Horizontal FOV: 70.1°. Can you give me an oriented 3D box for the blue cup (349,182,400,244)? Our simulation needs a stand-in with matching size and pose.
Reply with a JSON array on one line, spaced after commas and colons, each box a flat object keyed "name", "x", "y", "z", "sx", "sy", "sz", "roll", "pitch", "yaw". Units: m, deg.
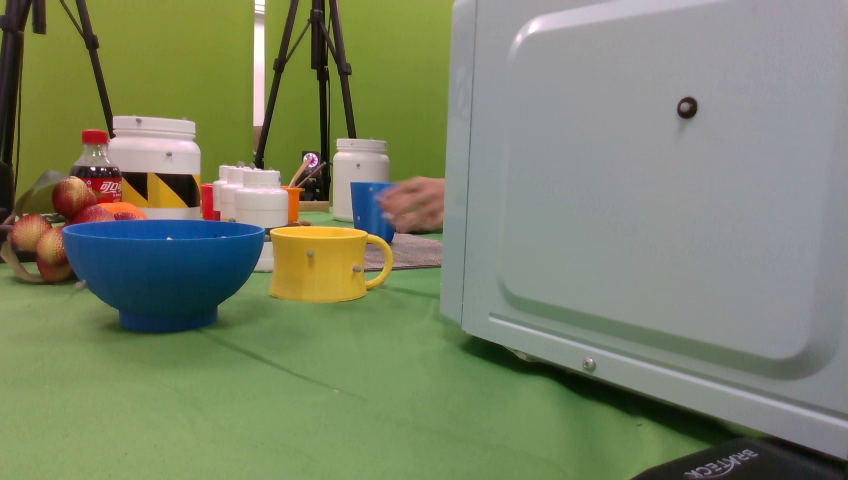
[{"name": "blue cup", "x": -0.082, "y": -0.047, "z": 1.010, "sx": 0.093, "sy": 0.100, "sz": 0.092, "roll": 1, "pitch": 6, "yaw": 0}]

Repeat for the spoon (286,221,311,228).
[{"name": "spoon", "x": -0.232, "y": -0.027, "z": 1.116, "sx": 0.041, "sy": 0.021, "sz": 0.193, "roll": -22, "pitch": 6, "yaw": 4}]

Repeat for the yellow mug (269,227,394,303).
[{"name": "yellow mug", "x": -0.094, "y": 0.023, "z": 0.629, "sx": 0.131, "sy": 0.064, "sz": 0.099, "roll": 0, "pitch": 7, "yaw": -22}]

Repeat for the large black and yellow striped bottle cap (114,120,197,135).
[{"name": "large black and yellow striped bottle cap", "x": -0.407, "y": -0.171, "z": 0.920, "sx": 0.115, "sy": 0.019, "sz": 0.115, "roll": 2, "pitch": 9, "yaw": 0}]

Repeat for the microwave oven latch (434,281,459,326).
[{"name": "microwave oven latch", "x": 0.044, "y": 0.045, "z": 0.470, "sx": 0.079, "sy": 0.029, "sz": 0.030, "roll": -3, "pitch": 8, "yaw": -39}]

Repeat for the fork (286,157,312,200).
[{"name": "fork", "x": -0.289, "y": -0.116, "z": 1.321, "sx": 0.028, "sy": 0.019, "sz": 0.207, "roll": 6, "pitch": 51, "yaw": 19}]

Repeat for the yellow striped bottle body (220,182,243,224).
[{"name": "yellow striped bottle body", "x": -0.246, "y": -0.036, "z": 0.825, "sx": 0.063, "sy": 0.120, "sz": 0.063, "roll": 3, "pitch": 8, "yaw": 0}]

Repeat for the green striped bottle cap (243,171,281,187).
[{"name": "green striped bottle cap", "x": -0.198, "y": -0.074, "z": 0.736, "sx": 0.044, "sy": 0.020, "sz": 0.044, "roll": 1, "pitch": 7, "yaw": 0}]

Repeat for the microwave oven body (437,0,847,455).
[{"name": "microwave oven body", "x": 0.279, "y": -0.040, "z": 0.465, "sx": 0.444, "sy": 0.260, "sz": 0.324, "roll": -3, "pitch": 9, "yaw": -41}]

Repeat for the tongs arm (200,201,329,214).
[{"name": "tongs arm", "x": -0.378, "y": -0.079, "z": 1.440, "sx": 0.387, "sy": 0.026, "sz": 0.050, "roll": -4, "pitch": 7, "yaw": -44}]

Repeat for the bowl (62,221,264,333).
[{"name": "bowl", "x": -0.209, "y": 0.029, "z": 0.496, "sx": 0.151, "sy": 0.077, "sz": 0.151, "roll": 2, "pitch": 7, "yaw": 0}]

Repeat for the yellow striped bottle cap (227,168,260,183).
[{"name": "yellow striped bottle cap", "x": -0.243, "y": -0.087, "z": 0.818, "sx": 0.044, "sy": 0.018, "sz": 0.044, "roll": 3, "pitch": 6, "yaw": 0}]

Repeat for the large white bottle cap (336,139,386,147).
[{"name": "large white bottle cap", "x": -0.143, "y": -0.219, "z": 1.375, "sx": 0.115, "sy": 0.018, "sz": 0.115, "roll": 2, "pitch": 8, "yaw": 0}]

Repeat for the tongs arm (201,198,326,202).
[{"name": "tongs arm", "x": -0.433, "y": -0.089, "z": 1.508, "sx": 0.390, "sy": 0.028, "sz": 0.028, "roll": -1, "pitch": 2, "yaw": -29}]

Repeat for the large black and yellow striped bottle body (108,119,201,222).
[{"name": "large black and yellow striped bottle body", "x": -0.412, "y": -0.088, "z": 0.930, "sx": 0.131, "sy": 0.184, "sz": 0.130, "roll": 3, "pitch": 7, "yaw": 0}]

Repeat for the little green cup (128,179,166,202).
[{"name": "little green cup", "x": -0.485, "y": -0.087, "z": 1.062, "sx": 0.061, "sy": 0.038, "sz": 0.061, "roll": -1, "pitch": 6, "yaw": 0}]

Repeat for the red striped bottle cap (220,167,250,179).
[{"name": "red striped bottle cap", "x": -0.281, "y": -0.100, "z": 0.901, "sx": 0.044, "sy": 0.017, "sz": 0.044, "roll": -1, "pitch": 5, "yaw": 0}]

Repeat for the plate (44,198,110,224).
[{"name": "plate", "x": -0.617, "y": -0.056, "z": 1.179, "sx": 0.209, "sy": 0.038, "sz": 0.209, "roll": 3, "pitch": 7, "yaw": 0}]

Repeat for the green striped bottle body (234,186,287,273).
[{"name": "green striped bottle body", "x": -0.200, "y": -0.023, "z": 0.743, "sx": 0.063, "sy": 0.119, "sz": 0.063, "roll": 2, "pitch": 7, "yaw": 0}]

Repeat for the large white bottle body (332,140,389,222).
[{"name": "large white bottle body", "x": -0.145, "y": -0.136, "z": 1.387, "sx": 0.131, "sy": 0.184, "sz": 0.130, "roll": 2, "pitch": 7, "yaw": 0}]

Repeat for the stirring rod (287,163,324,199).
[{"name": "stirring rod", "x": -0.278, "y": -0.105, "z": 1.294, "sx": 0.176, "sy": 0.006, "sz": 0.014, "roll": -47, "pitch": 26, "yaw": -18}]

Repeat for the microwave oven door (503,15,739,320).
[{"name": "microwave oven door", "x": 0.217, "y": -0.065, "z": 0.601, "sx": 0.358, "sy": 0.243, "sz": 0.039, "roll": -4, "pitch": 10, "yaw": -41}]

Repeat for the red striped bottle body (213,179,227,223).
[{"name": "red striped bottle body", "x": -0.284, "y": -0.048, "z": 0.909, "sx": 0.063, "sy": 0.119, "sz": 0.063, "roll": 3, "pitch": 11, "yaw": 0}]
